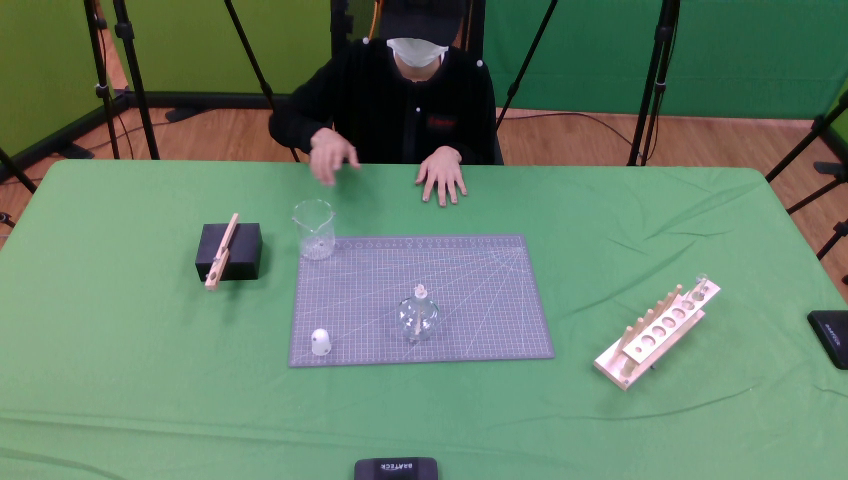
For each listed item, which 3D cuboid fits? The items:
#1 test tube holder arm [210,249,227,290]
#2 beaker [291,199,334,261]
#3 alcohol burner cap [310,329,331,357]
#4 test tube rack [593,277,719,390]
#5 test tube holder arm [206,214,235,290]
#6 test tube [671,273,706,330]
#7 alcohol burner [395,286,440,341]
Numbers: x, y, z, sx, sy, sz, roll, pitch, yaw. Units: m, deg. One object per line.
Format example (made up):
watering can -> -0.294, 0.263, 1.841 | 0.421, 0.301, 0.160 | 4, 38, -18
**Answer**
test tube holder arm -> -0.359, 0.050, 1.059 | 0.010, 0.015, 0.087 | 8, 45, -8
beaker -> -0.206, -0.014, 1.138 | 0.074, 0.101, 0.083 | -7, 47, -11
alcohol burner cap -> -0.173, 0.168, 1.005 | 0.034, 0.048, 0.033 | 2, 46, -2
test tube rack -> 0.401, 0.148, 1.043 | 0.242, 0.085, 0.066 | -30, 55, -29
test tube holder arm -> -0.364, 0.017, 1.090 | 0.013, 0.015, 0.177 | 7, 45, -8
test tube -> 0.443, 0.106, 1.018 | 0.017, 0.151, 0.017 | -1, 49, 1
alcohol burner -> -0.010, 0.116, 1.018 | 0.078, 0.119, 0.077 | 3, 47, -3
